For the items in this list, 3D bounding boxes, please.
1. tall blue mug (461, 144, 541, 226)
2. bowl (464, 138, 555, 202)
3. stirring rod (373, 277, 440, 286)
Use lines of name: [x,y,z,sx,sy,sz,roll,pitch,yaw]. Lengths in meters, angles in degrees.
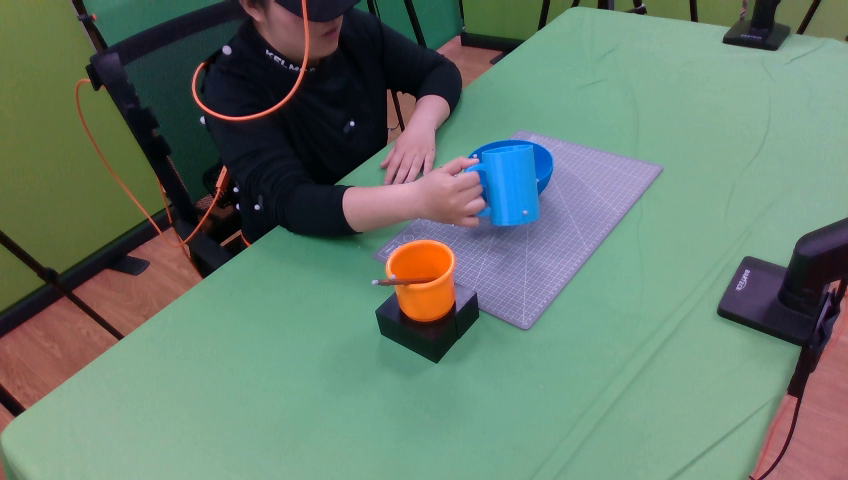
tall blue mug: [0.117,-0.079,0.886,0.108,0.108,0.077,-19,18,-34]
bowl: [0.145,-0.100,1.025,0.151,0.077,0.150,-5,40,5]
stirring rod: [-0.018,0.051,0.758,0.014,0.006,0.177,13,3,23]
